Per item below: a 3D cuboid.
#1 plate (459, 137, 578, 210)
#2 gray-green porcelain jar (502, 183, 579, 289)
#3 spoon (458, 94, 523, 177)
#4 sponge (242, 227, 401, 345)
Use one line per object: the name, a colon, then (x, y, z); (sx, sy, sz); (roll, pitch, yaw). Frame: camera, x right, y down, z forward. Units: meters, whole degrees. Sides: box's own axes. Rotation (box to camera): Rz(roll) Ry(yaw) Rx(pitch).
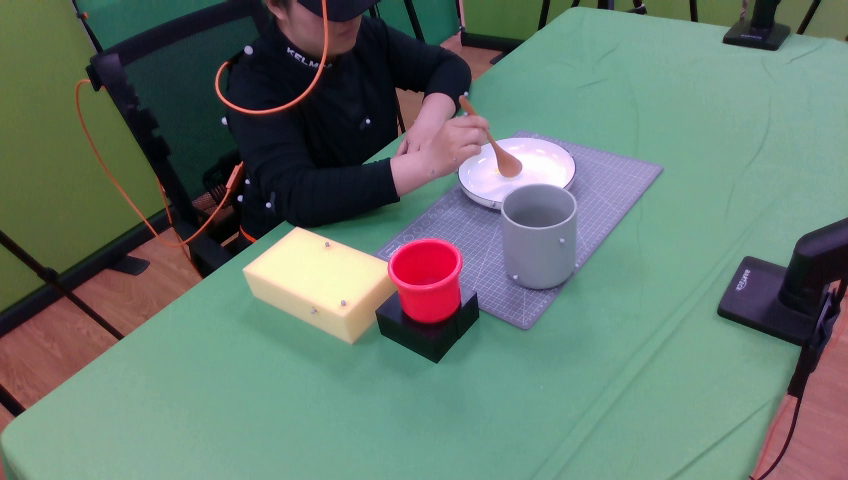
plate: (0.166, -0.113, 1.069); (0.207, 0.039, 0.206); (-5, 40, 5)
gray-green porcelain jar: (0.167, -0.001, 0.866); (0.106, 0.127, 0.105); (-5, 40, 5)
spoon: (0.109, -0.170, 1.002); (0.041, 0.195, 0.021); (-31, 35, 18)
sponge: (-0.154, 0.063, 0.907); (0.205, 0.061, 0.118); (19, 48, 29)
